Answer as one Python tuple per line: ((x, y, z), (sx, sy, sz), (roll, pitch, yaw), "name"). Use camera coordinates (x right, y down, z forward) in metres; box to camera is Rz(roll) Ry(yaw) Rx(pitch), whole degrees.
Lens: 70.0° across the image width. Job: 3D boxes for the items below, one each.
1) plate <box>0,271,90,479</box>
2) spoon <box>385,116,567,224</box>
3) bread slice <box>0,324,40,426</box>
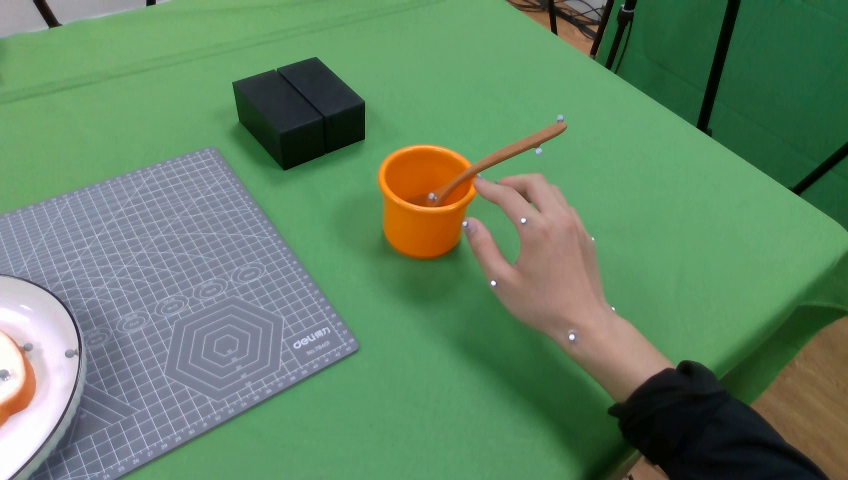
((-0.342, 0.112, 0.419), (0.209, 0.038, 0.207), (4, 48, -4), "plate")
((0.042, -0.062, 0.550), (0.022, 0.193, 0.041), (41, 35, -30), "spoon")
((-0.347, 0.111, 0.423), (0.104, 0.019, 0.131), (35, 55, 21), "bread slice")
